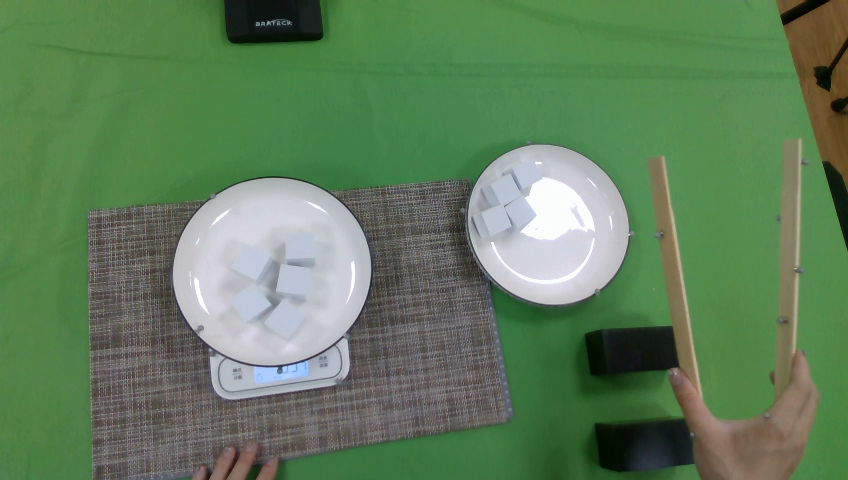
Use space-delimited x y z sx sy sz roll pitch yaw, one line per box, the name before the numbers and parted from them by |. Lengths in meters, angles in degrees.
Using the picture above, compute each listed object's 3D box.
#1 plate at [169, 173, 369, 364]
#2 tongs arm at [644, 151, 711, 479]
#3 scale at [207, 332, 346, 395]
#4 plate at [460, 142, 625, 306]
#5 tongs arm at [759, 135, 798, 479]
plate | -0.165 0.030 0.660 0.209 0.038 0.208 2 76 -9
tongs arm | 0.245 0.108 0.557 0.028 0.027 0.388 -16 100 -10
scale | -0.170 0.066 0.685 0.149 0.031 0.200 -5 78 -10
plate | 0.145 -0.019 0.754 0.208 0.039 0.206 2 76 -8
tongs arm | 0.315 0.099 0.564 0.051 0.026 0.385 -5 99 -8
